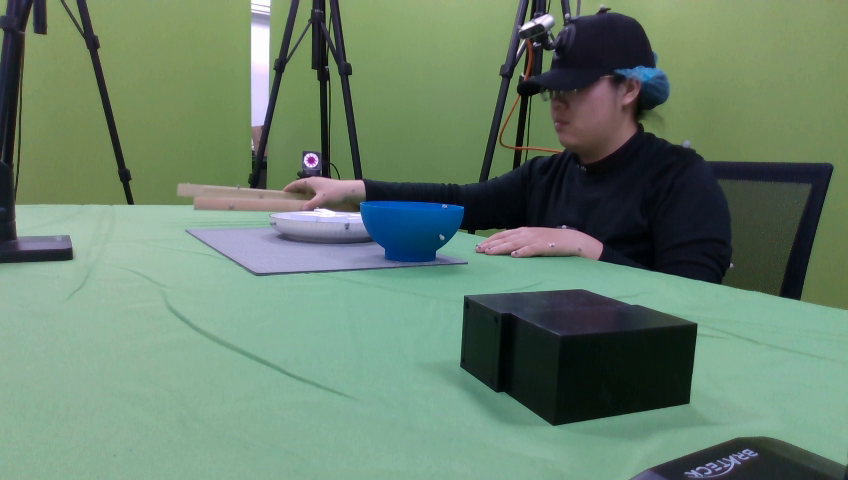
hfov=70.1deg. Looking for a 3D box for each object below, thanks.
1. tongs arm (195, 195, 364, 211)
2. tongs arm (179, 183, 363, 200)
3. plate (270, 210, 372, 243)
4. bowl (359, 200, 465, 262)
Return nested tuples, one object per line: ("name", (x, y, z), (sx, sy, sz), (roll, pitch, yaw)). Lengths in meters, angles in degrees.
("tongs arm", (-0.275, -0.075, 1.237), (0.390, 0.028, 0.028), (-2, 11, -42))
("tongs arm", (-0.312, -0.092, 1.288), (0.387, 0.026, 0.050), (1, 12, -34))
("plate", (-0.161, -0.024, 1.054), (0.208, 0.039, 0.207), (2, 7, 0))
("bowl", (-0.018, -0.013, 0.859), (0.151, 0.077, 0.151), (2, 7, 0))
